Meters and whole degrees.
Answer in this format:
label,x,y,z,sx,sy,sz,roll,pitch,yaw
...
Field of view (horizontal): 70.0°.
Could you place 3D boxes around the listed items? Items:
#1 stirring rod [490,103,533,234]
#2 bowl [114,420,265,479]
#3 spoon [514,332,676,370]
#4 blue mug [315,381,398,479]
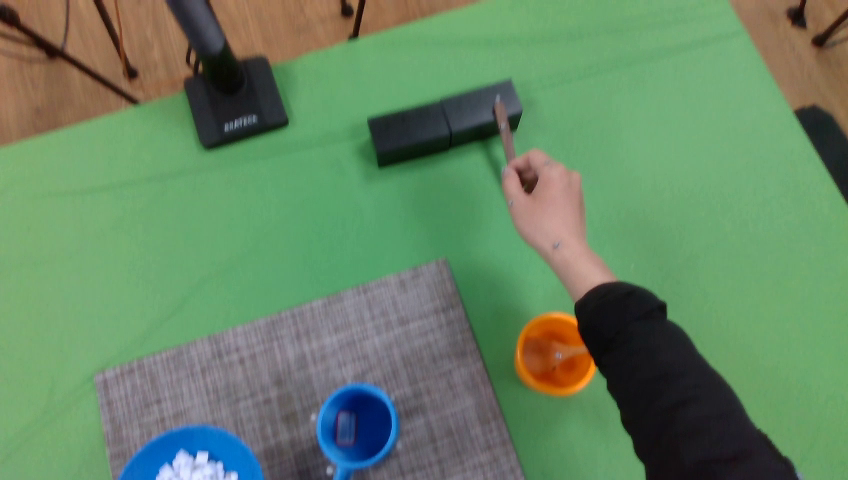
label,x,y,z,sx,sy,sz,roll,pitch,yaw
stirring rod,0.116,-0.093,0.795,0.014,0.006,0.176,-16,92,-9
bowl,-0.234,0.269,0.623,0.151,0.077,0.150,2,65,-4
spoon,0.186,0.121,0.684,0.022,0.193,0.041,18,66,-43
blue mug,-0.077,0.217,0.665,0.082,0.106,0.116,19,73,5
